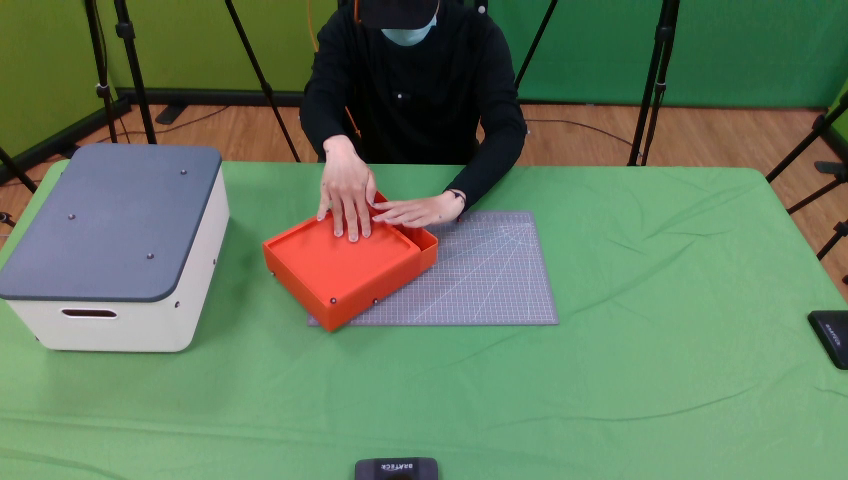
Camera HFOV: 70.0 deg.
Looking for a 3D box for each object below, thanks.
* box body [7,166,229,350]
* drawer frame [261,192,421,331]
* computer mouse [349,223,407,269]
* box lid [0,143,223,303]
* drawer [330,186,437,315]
[{"bbox_3d":[-0.502,0.008,1.054,0.254,0.161,0.361,1,46,-3],"label":"box body"},{"bbox_3d":[-0.148,0.033,1.110,0.213,0.083,0.200,-33,57,-29],"label":"drawer frame"},{"bbox_3d":[-0.089,0.006,1.162,0.063,0.041,0.116,-36,53,-27],"label":"computer mouse"},{"bbox_3d":[-0.499,-0.045,1.002,0.263,0.015,0.369,2,46,-3],"label":"box lid"},{"bbox_3d":[-0.116,0.015,1.132,0.212,0.073,0.193,-33,57,-29],"label":"drawer"}]
